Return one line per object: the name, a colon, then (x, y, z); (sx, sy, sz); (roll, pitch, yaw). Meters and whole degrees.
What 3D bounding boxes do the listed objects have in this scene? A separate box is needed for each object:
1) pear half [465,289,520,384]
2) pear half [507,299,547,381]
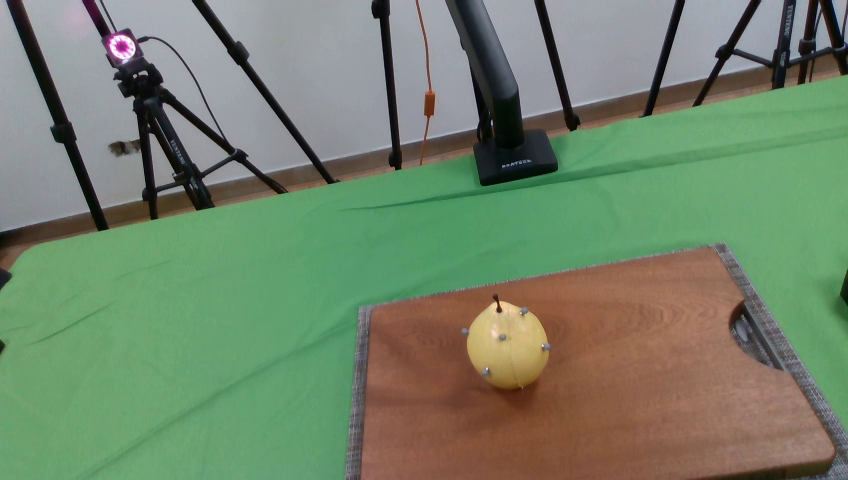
pear half: (0.064, 0.086, 0.579); (0.056, 0.111, 0.076); (-5, 36, 15)
pear half: (0.100, 0.092, 0.576); (0.031, 0.089, 0.070); (-6, 34, 14)
